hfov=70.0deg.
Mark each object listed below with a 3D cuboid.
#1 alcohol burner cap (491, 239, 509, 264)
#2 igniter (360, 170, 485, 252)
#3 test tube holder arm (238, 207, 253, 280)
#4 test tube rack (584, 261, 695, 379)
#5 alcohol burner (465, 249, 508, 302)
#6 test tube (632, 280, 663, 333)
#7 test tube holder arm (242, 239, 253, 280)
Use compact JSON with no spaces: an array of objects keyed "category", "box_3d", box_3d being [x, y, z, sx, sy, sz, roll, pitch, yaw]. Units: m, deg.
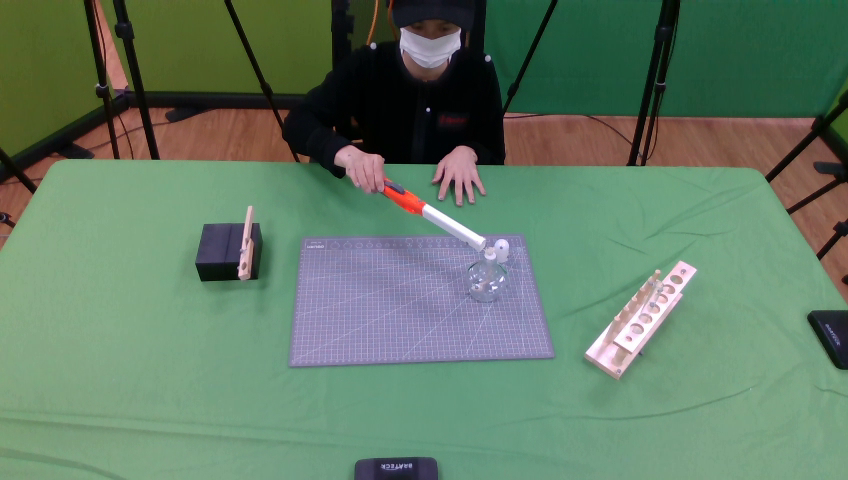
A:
[{"category":"alcohol burner cap","box_3d":[0.150,0.020,1.174,0.034,0.048,0.033,2,46,-2]},{"category":"igniter","box_3d":[-0.009,-0.058,1.093,0.275,0.057,0.025,31,65,20]},{"category":"test tube holder arm","box_3d":[-0.325,0.003,1.106,0.013,0.015,0.177,-10,46,-1]},{"category":"test tube rack","box_3d":[0.380,0.127,1.062,0.066,0.085,0.242,34,53,26]},{"category":"alcohol burner","box_3d":[0.114,0.057,1.085,0.078,0.120,0.077,2,48,-2]},{"category":"test tube","box_3d":[0.363,0.121,0.997,0.017,0.151,0.017,2,44,-1]},{"category":"test tube holder arm","box_3d":[-0.313,0.033,1.075,0.010,0.015,0.087,-10,46,-1]}]
